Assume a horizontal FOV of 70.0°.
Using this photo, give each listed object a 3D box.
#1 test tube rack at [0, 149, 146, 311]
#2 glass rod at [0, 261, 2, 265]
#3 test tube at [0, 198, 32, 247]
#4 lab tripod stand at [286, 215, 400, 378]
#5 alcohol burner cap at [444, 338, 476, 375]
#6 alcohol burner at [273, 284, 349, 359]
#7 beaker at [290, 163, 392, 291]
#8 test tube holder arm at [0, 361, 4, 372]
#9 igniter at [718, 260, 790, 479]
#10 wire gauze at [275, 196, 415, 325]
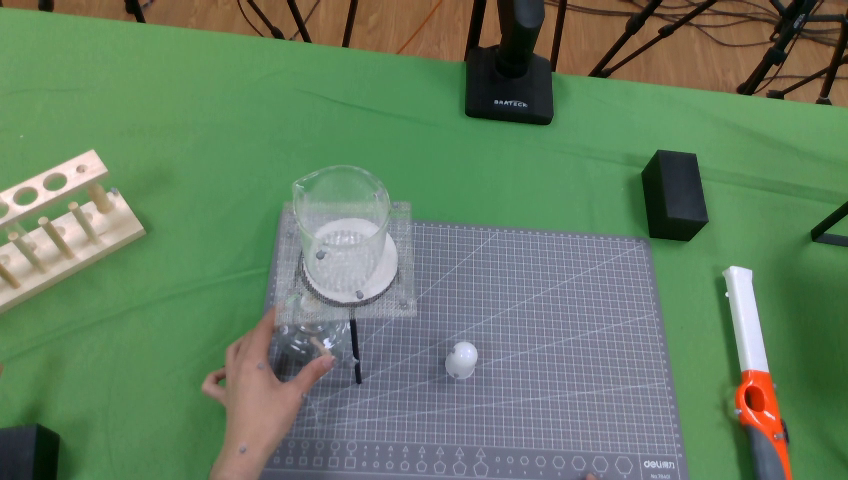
[{"bbox_3d":[-0.424,0.010,0.614,0.242,0.086,0.066,-34,70,-22],"label":"test tube rack"},{"bbox_3d":[-0.448,-0.030,0.556,0.008,0.201,0.008,0,56,0],"label":"glass rod"},{"bbox_3d":[-0.416,-0.037,0.584,0.017,0.151,0.017,4,56,-5],"label":"test tube"},{"bbox_3d":[-0.075,0.050,0.603,0.149,0.132,0.147,4,62,-7],"label":"lab tripod stand"},{"bbox_3d":[0.039,0.120,0.632,0.034,0.048,0.033,2,64,-3],"label":"alcohol burner cap"},{"bbox_3d":[-0.110,0.074,0.597,0.078,0.120,0.077,4,60,-6],"label":"alcohol burner"},{"bbox_3d":[-0.071,-0.007,0.504,0.084,0.101,0.073,27,62,8],"label":"beaker"},{"bbox_3d":[-0.392,0.146,0.528,0.010,0.015,0.087,7,60,-3],"label":"test tube holder arm"},{"bbox_3d":[0.360,0.149,0.665,0.057,0.025,0.274,12,61,-12],"label":"igniter"},{"bbox_3d":[-0.072,0.014,0.548,0.121,0.011,0.124,-1,66,-6],"label":"wire gauze"}]
